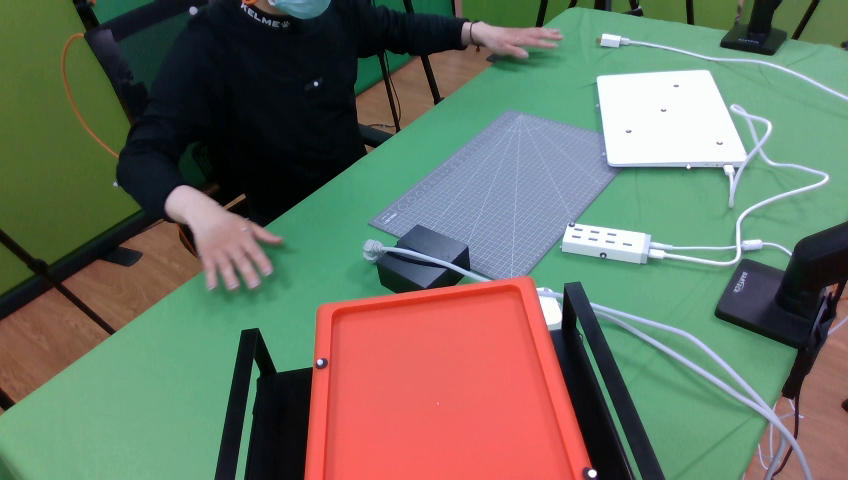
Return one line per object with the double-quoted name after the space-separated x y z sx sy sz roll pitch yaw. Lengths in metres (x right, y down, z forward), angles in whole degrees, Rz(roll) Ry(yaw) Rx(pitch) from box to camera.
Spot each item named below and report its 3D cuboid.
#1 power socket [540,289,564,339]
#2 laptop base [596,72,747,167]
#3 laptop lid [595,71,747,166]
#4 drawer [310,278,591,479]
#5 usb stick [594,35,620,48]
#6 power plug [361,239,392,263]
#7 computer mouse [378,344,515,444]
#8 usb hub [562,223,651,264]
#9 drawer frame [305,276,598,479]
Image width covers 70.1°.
0.080 0.112 0.822 0.227 0.033 0.072 -7 41 -1 "power socket"
0.469 -0.239 1.188 0.235 0.023 0.353 -1 40 11 "laptop base"
0.465 -0.248 1.181 0.241 0.013 0.355 1 41 12 "laptop lid"
0.013 0.137 0.489 0.195 0.073 0.210 -7 41 0 "drawer"
0.443 -0.482 1.466 0.059 0.021 0.027 9 43 9 "usb stick"
-0.070 0.024 0.930 0.072 0.053 0.035 32 82 42 "power plug"
0.018 0.126 0.520 0.116 0.041 0.063 13 47 29 "computer mouse"
0.279 0.004 0.926 0.124 0.025 0.049 10 43 19 "usb hub"
0.014 0.137 0.486 0.202 0.083 0.212 -8 41 -1 "drawer frame"
